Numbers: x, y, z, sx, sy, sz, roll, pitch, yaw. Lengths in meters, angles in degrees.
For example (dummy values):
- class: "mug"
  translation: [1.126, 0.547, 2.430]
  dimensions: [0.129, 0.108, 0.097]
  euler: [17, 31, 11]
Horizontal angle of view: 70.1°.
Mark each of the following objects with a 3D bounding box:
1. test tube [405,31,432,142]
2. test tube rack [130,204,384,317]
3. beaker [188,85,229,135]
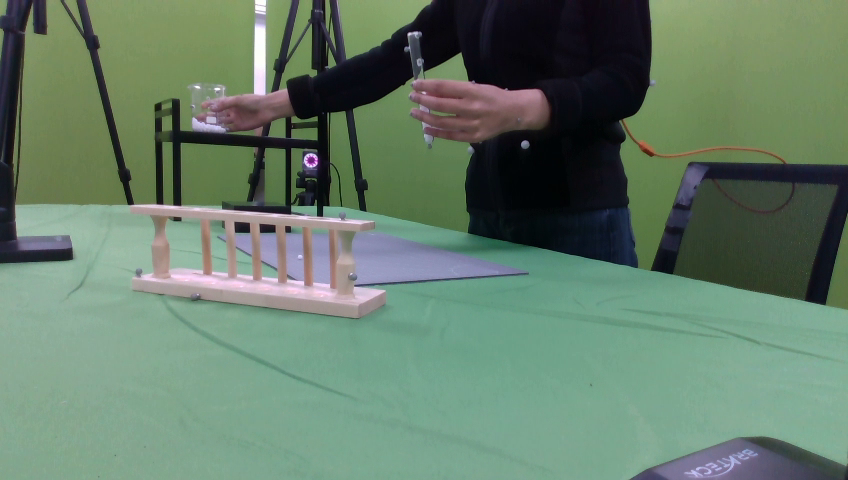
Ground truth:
- class: "test tube"
  translation: [-0.006, -0.211, 0.837]
  dimensions: [0.017, 0.150, 0.017]
  euler: [-9, 14, 2]
- class: "test tube rack"
  translation: [-0.163, 0.014, 0.589]
  dimensions: [0.242, 0.085, 0.067]
  euler: [5, 8, 17]
- class: "beaker"
  translation: [-0.456, -0.275, 1.283]
  dimensions: [0.084, 0.100, 0.073]
  euler: [-5, 9, -39]
